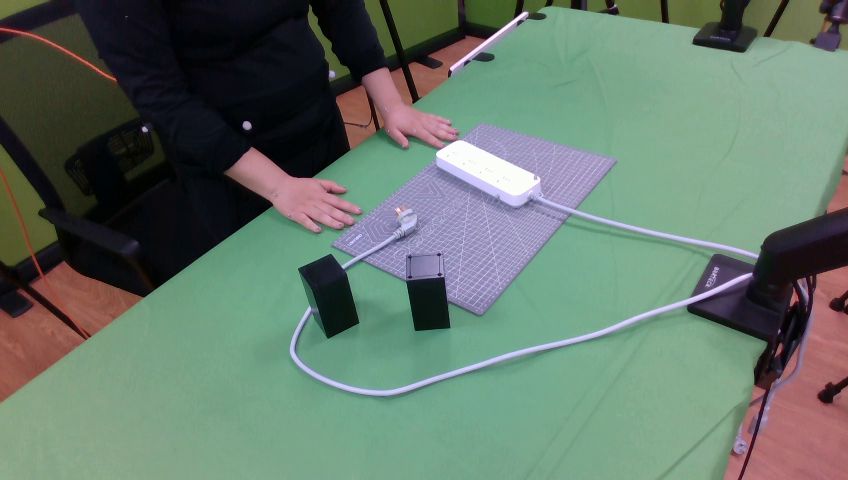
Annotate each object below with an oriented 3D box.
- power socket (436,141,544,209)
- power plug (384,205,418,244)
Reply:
[{"bbox_3d":[0.112,-0.120,1.082,0.072,0.033,0.224,-34,47,-27],"label":"power socket"},{"bbox_3d":[-0.043,-0.030,0.991,0.073,0.035,0.052,-20,59,-31],"label":"power plug"}]
